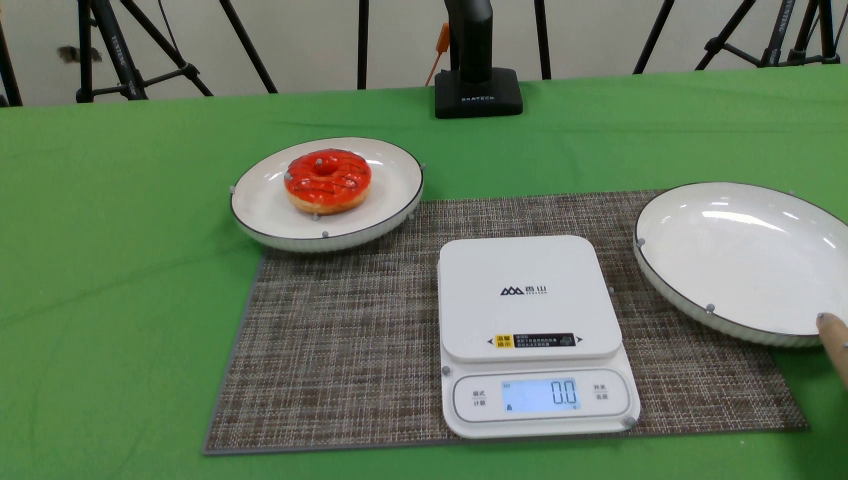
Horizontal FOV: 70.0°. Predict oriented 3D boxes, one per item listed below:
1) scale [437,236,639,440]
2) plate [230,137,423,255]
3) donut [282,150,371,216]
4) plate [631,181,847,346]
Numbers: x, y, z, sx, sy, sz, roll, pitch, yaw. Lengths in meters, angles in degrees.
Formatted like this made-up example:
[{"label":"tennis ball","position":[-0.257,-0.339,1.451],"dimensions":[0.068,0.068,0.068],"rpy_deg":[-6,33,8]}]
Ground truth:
[{"label":"scale","position":[0.087,0.072,0.514],"dimensions":[0.148,0.032,0.199],"rpy_deg":[-3,41,2]},{"label":"plate","position":[-0.104,-0.048,0.669],"dimensions":[0.209,0.038,0.207],"rpy_deg":[-3,38,3]},{"label":"donut","position":[-0.107,-0.063,0.671],"dimensions":[0.099,0.048,0.098],"rpy_deg":[-2,38,2]},{"label":"plate","position":[0.294,0.019,0.555],"dimensions":[0.208,0.039,0.205],"rpy_deg":[-1,41,1]}]
